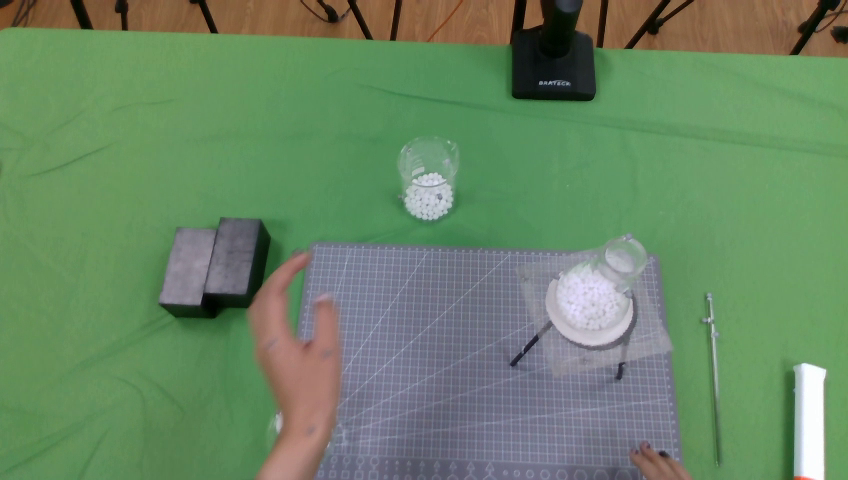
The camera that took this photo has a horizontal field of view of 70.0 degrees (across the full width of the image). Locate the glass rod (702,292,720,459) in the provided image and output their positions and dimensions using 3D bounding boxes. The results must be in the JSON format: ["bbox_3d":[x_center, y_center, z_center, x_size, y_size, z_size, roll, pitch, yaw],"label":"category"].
[{"bbox_3d":[0.337,0.154,0.714,0.008,0.008,0.198,6,66,3],"label":"glass rod"}]

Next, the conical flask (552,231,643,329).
[{"bbox_3d":[0.165,0.033,0.561,0.075,0.122,0.075,0,68,1],"label":"conical flask"}]

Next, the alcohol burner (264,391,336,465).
[{"bbox_3d":[-0.133,0.196,0.638,0.078,0.120,0.077,1,67,-1],"label":"alcohol burner"}]

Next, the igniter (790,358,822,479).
[{"bbox_3d":[0.411,0.263,0.655,0.057,0.025,0.275,18,67,-3],"label":"igniter"}]

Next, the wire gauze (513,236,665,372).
[{"bbox_3d":[0.166,0.063,0.613,0.125,0.011,0.120,-12,69,-7],"label":"wire gauze"}]

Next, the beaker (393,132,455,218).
[{"bbox_3d":[0.003,-0.080,0.772,0.084,0.101,0.073,-36,71,-15],"label":"beaker"}]

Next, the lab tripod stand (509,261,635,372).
[{"bbox_3d":[0.168,0.091,0.672,0.148,0.132,0.147,0,67,1],"label":"lab tripod stand"}]

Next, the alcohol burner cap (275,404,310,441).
[{"bbox_3d":[-0.133,0.180,0.605,0.034,0.048,0.033,2,64,-4],"label":"alcohol burner cap"}]
